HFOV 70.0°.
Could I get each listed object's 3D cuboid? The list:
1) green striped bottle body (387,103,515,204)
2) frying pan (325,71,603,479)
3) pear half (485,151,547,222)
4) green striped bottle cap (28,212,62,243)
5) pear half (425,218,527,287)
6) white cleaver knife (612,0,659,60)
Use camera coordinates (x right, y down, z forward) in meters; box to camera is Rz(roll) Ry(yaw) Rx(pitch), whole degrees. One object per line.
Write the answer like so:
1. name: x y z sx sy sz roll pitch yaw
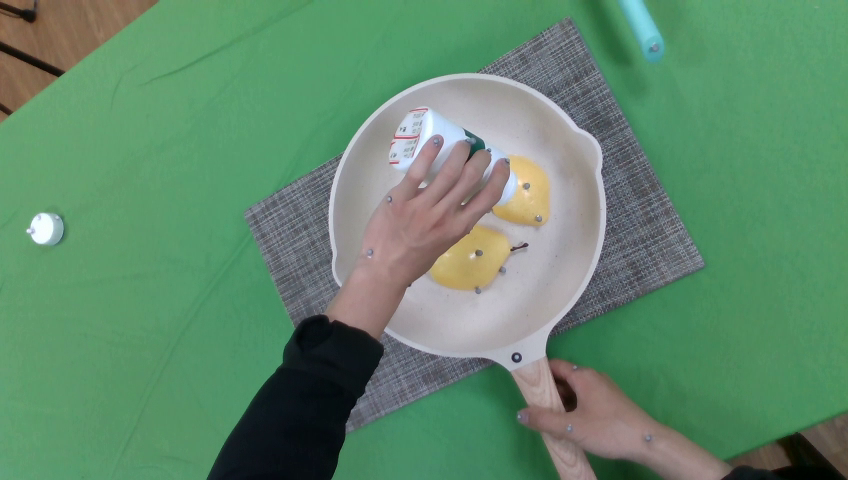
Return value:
1. green striped bottle body: 0.030 -0.075 0.567 0.063 0.120 0.062 -34 45 42
2. frying pan: 0.078 0.066 0.621 0.306 0.103 0.485 -26 75 15
3. pear half: 0.097 -0.057 0.651 0.070 0.031 0.087 -44 75 16
4. green striped bottle cap: -0.524 -0.017 0.837 0.044 0.020 0.044 0 90 16
5. pear half: 0.055 0.011 0.652 0.109 0.056 0.076 -15 91 13
6. white cleaver knife: 0.171 -0.310 0.619 0.021 0.066 0.285 -26 81 19
